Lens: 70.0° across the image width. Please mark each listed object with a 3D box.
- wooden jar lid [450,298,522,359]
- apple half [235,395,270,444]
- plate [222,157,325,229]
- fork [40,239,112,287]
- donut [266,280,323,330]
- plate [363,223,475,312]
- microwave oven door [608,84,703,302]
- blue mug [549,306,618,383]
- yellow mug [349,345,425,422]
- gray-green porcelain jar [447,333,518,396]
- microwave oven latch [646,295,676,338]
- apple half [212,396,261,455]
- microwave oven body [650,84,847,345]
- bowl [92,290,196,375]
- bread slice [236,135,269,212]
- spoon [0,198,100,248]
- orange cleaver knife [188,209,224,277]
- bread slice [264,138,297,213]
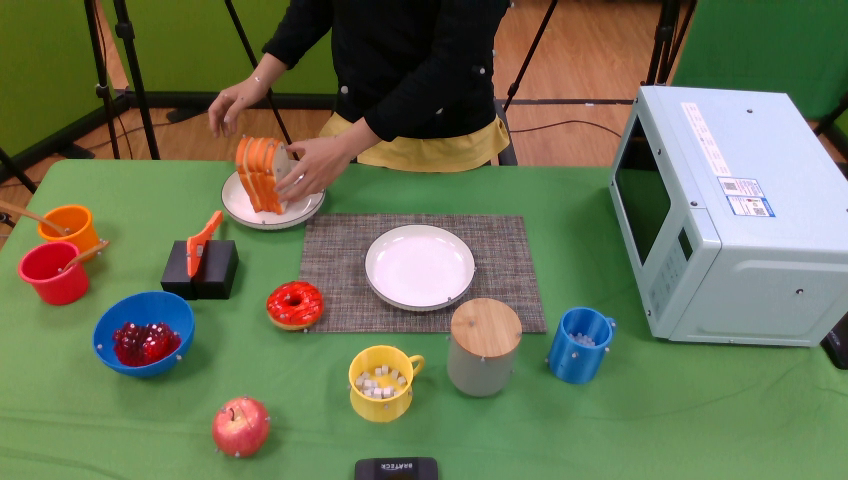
[{"bbox_3d":[0.093,0.135,0.914,0.108,0.021,0.107,2,49,-3],"label":"wooden jar lid"},{"bbox_3d":[-0.245,0.260,0.893,0.033,0.082,0.081,-29,55,-22],"label":"apple half"},{"bbox_3d":[-0.308,-0.094,1.251,0.209,0.038,0.208,2,46,-2],"label":"plate"},{"bbox_3d":[-0.591,0.040,1.028,0.207,0.019,0.028,-27,37,29],"label":"fork"},{"bbox_3d":[-0.223,0.113,1.051,0.099,0.048,0.098,2,46,-2],"label":"donut"},{"bbox_3d":[-0.009,0.054,1.126,0.208,0.039,0.206,2,46,-2],"label":"plate"},{"bbox_3d":[0.424,-0.096,1.138,0.039,0.245,0.353,2,47,-1],"label":"microwave oven door"},{"bbox_3d":[0.269,0.167,0.997,0.116,0.106,0.082,-19,51,-21],"label":"blue mug"},{"bbox_3d":[-0.054,0.217,0.954,0.131,0.064,0.099,-24,52,-25],"label":"yellow mug"},{"bbox_3d":[0.091,0.178,0.960,0.106,0.127,0.105,2,46,-2],"label":"gray-green porcelain jar"},{"bbox_3d":[0.412,0.133,1.061,0.030,0.029,0.078,3,46,0],"label":"microwave oven latch"},{"bbox_3d":[-0.276,0.276,0.877,0.053,0.075,0.080,-29,58,-21],"label":"apple half"},{"bbox_3d":[0.569,-0.054,1.116,0.326,0.261,0.439,2,46,-1],"label":"microwave oven body"},{"bbox_3d":[-0.436,0.161,0.971,0.151,0.077,0.150,2,46,-2],"label":"bowl"},{"bbox_3d":[-0.341,-0.142,1.218,0.018,0.135,0.106,-3,44,7],"label":"bread slice"},{"bbox_3d":[-0.684,-0.035,1.092,0.021,0.195,0.041,-33,42,27],"label":"spoon"},{"bbox_3d":[-0.402,0.000,1.123,0.012,0.077,0.210,0,22,-3],"label":"orange cleaver knife"},{"bbox_3d":[-0.287,-0.134,1.214,0.019,0.132,0.104,1,45,8],"label":"bread slice"}]
